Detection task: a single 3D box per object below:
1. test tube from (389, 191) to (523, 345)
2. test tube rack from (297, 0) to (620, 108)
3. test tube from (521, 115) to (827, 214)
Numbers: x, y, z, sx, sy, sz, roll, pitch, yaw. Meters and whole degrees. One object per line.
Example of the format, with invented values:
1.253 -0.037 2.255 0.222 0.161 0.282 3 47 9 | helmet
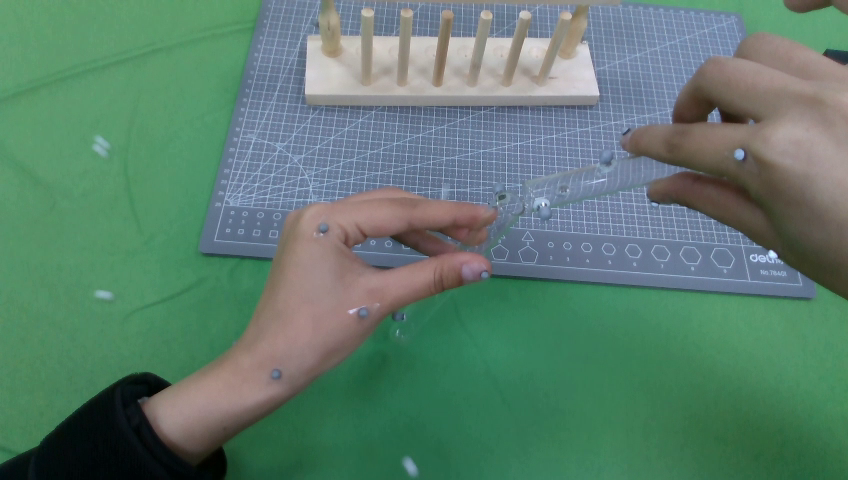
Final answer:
0.012 0.023 0.339 0.017 0.151 0.017 14 51 -18 | test tube
0.026 -0.159 0.483 0.243 0.086 0.066 -1 62 -5 | test tube rack
0.118 -0.036 0.284 0.150 0.017 0.017 -14 63 -5 | test tube
